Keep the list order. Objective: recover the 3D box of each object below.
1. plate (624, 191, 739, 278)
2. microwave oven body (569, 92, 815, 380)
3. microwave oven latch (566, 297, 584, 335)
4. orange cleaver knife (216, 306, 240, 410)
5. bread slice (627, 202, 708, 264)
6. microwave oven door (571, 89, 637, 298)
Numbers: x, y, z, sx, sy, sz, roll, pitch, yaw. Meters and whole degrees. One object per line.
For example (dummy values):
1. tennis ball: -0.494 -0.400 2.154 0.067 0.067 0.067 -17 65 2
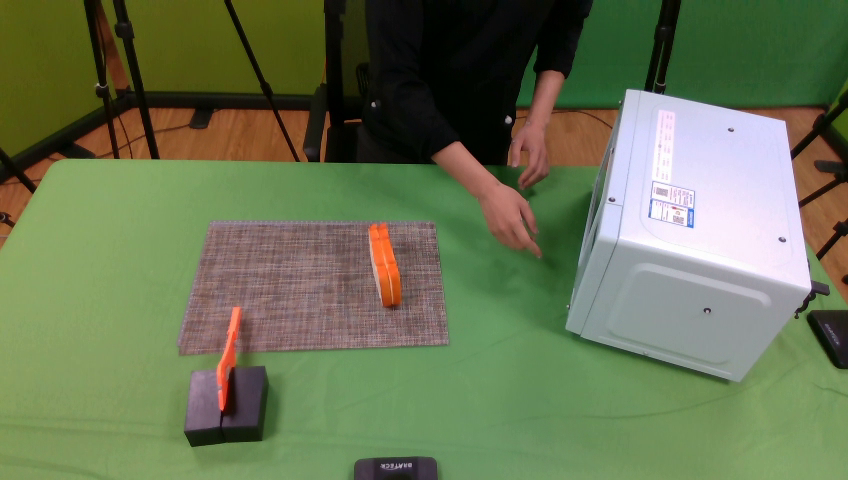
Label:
1. plate: 0.482 -0.007 1.147 0.208 0.039 0.206 0 49 0
2. microwave oven body: 0.468 -0.022 1.082 0.325 0.261 0.440 15 46 11
3. microwave oven latch: 0.268 0.126 1.059 0.030 0.029 0.079 16 46 12
4. orange cleaver knife: -0.307 0.180 0.957 0.012 0.077 0.210 -2 25 -8
5. bread slice: 0.474 -0.021 1.169 0.134 0.018 0.106 -31 56 -16
6. microwave oven door: 0.343 -0.091 1.133 0.039 0.245 0.354 15 47 10
